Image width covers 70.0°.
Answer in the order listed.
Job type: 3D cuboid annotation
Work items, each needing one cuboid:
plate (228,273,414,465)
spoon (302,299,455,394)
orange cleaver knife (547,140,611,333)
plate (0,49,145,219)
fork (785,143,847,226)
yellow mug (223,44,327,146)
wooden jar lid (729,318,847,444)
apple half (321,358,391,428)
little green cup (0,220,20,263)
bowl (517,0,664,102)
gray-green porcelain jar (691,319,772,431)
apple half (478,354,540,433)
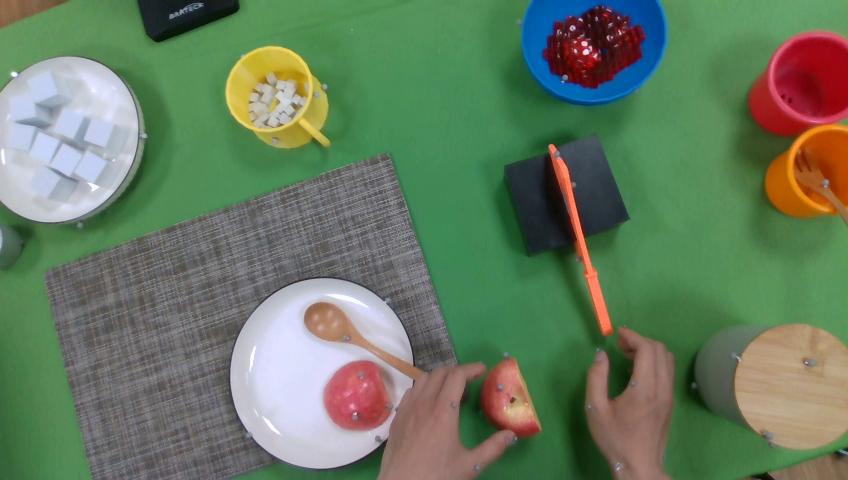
[{"bbox_3d":[-0.113,0.141,0.677,0.209,0.038,0.208,-1,84,6],"label":"plate"},{"bbox_3d":[-0.052,0.119,0.660,0.192,0.022,0.041,26,74,20],"label":"spoon"},{"bbox_3d":[0.164,-0.003,0.644,0.012,0.077,0.212,-17,106,8],"label":"orange cleaver knife"},{"bbox_3d":[-0.435,-0.126,0.740,0.207,0.039,0.207,-1,84,6],"label":"plate"},{"bbox_3d":[0.401,-0.032,0.589,0.028,0.019,0.205,-3,41,5],"label":"fork"},{"bbox_3d":[-0.160,-0.156,0.701,0.130,0.064,0.100,42,89,7],"label":"yellow mug"},{"bbox_3d":[0.322,0.122,0.531,0.108,0.021,0.108,0,86,5],"label":"wooden jar lid"},{"bbox_3d":[-0.079,0.171,0.664,0.081,0.033,0.081,-1,81,7],"label":"apple half"},{"bbox_3d":[-0.528,0.001,0.735,0.061,0.039,0.061,0,85,4],"label":"little green cup"},{"bbox_3d":[0.176,-0.215,0.666,0.151,0.077,0.151,-1,85,6],"label":"bowl"},{"bbox_3d":[0.329,0.131,0.593,0.106,0.127,0.105,-1,83,7],"label":"gray-green porcelain jar"},{"bbox_3d":[0.085,0.165,0.641,0.053,0.075,0.080,-22,85,7],"label":"apple half"}]
